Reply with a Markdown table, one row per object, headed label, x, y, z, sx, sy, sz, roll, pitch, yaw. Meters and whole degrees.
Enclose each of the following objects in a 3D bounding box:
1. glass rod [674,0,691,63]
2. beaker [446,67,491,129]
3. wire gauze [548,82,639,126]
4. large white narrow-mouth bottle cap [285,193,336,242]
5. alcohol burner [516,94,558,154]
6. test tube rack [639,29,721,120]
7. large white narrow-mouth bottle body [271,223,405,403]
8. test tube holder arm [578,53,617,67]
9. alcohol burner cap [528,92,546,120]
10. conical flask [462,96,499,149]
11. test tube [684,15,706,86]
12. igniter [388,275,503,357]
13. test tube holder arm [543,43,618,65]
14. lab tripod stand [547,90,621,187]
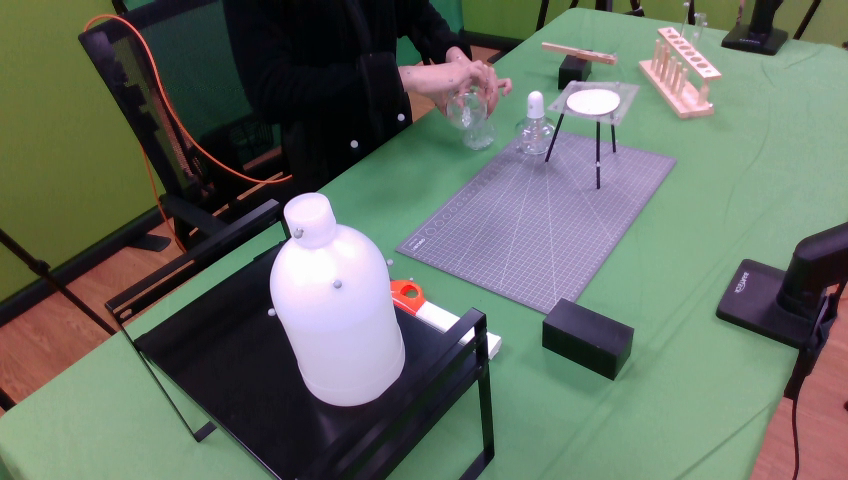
| label | x | y | z | sx | sy | sz | roll | pitch | yaw |
| --- | --- | --- | --- | --- | --- | --- | --- | --- | --- |
| glass rod | 0.537 | -0.437 | 1.257 | 0.008 | 0.200 | 0.008 | 0 | 39 | 1 |
| beaker | 0.076 | -0.237 | 1.030 | 0.074 | 0.084 | 0.100 | 0 | 36 | 8 |
| wire gauze | 0.286 | -0.235 | 1.019 | 0.124 | 0.011 | 0.121 | 17 | 46 | 28 |
| large white narrow-mouth bottle cap | -0.087 | -0.018 | 0.467 | 0.038 | 0.024 | 0.037 | -4 | 40 | 4 |
| alcohol burner | 0.212 | -0.222 | 1.134 | 0.078 | 0.119 | 0.077 | -5 | 43 | 5 |
| test tube rack | 0.527 | -0.351 | 1.262 | 0.067 | 0.085 | 0.241 | -8 | 40 | 1 |
| large white narrow-mouth bottle body | -0.077 | 0.048 | 0.525 | 0.102 | 0.195 | 0.101 | -5 | 40 | 5 |
| test tube holder arm | 0.376 | -0.393 | 1.314 | 0.087 | 0.015 | 0.010 | 26 | 51 | 32 |
| alcohol burner cap | 0.206 | -0.249 | 1.112 | 0.034 | 0.048 | 0.033 | -6 | 36 | 4 |
| conical flask | 0.100 | -0.227 | 1.146 | 0.075 | 0.122 | 0.075 | -3 | 76 | 12 |
| test tube | 0.541 | -0.378 | 1.216 | 0.017 | 0.151 | 0.017 | -2 | 44 | 3 |
| igniter | -0.008 | 0.093 | 0.870 | 0.274 | 0.025 | 0.057 | 24 | 60 | 33 |
| test tube holder arm | 0.344 | -0.413 | 1.340 | 0.177 | 0.015 | 0.013 | 25 | 51 | 31 |
| lab tripod stand | 0.289 | -0.184 | 1.062 | 0.148 | 0.132 | 0.147 | -6 | 41 | 6 |
